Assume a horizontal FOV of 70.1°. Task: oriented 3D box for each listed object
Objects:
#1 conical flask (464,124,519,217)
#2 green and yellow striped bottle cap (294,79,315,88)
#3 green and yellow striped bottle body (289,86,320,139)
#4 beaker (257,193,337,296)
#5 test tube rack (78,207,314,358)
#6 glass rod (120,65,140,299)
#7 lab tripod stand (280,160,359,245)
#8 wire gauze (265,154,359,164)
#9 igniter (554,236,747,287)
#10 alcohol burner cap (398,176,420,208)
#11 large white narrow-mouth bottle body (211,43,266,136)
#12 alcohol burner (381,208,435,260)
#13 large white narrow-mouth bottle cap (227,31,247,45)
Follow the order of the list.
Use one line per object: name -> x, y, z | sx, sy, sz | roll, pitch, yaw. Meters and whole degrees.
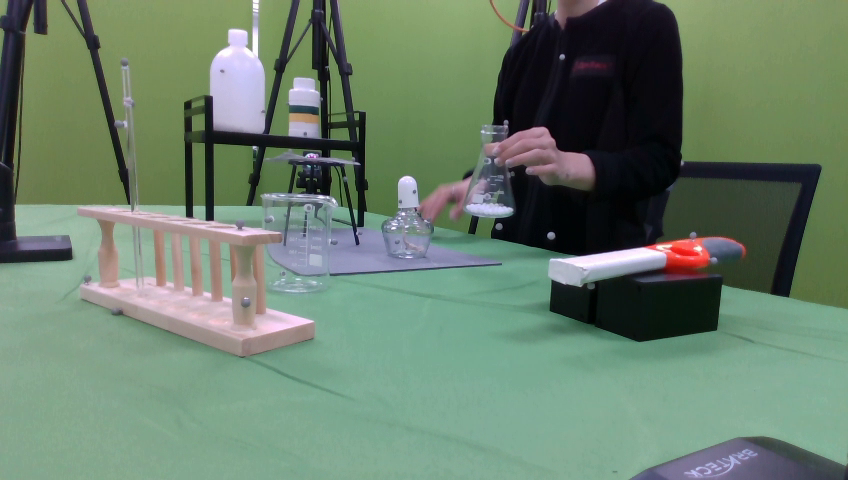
conical flask -> 0.094, -0.095, 0.818 | 0.075, 0.122, 0.075 | 2, 13, 0
green and yellow striped bottle cap -> -0.248, -0.323, 1.256 | 0.045, 0.020, 0.045 | 3, 9, 0
green and yellow striped bottle body -> -0.250, -0.272, 1.261 | 0.063, 0.119, 0.063 | 3, 7, 0
beaker -> -0.130, 0.004, 0.628 | 0.084, 0.100, 0.074 | 5, 8, 15
test tube rack -> -0.196, 0.024, 0.500 | 0.241, 0.085, 0.067 | 8, 8, 37
glass rod -> -0.249, -0.047, 0.513 | 0.008, 0.199, 0.008 | -1, 4, 0
lab tripod stand -> -0.176, -0.062, 0.973 | 0.148, 0.131, 0.148 | 1, 7, 0
wire gauze -> -0.181, -0.129, 0.969 | 0.126, 0.011, 0.121 | -1, 7, -27
igniter -> 0.221, 0.017, 0.558 | 0.278, 0.025, 0.057 | -5, 15, -39
alcohol burner cap -> -0.023, -0.068, 0.866 | 0.034, 0.048, 0.034 | -4, 8, 1
large white narrow-mouth bottle body -> -0.361, -0.302, 1.176 | 0.102, 0.194, 0.102 | 1, 7, 0
alcohol burner -> -0.023, -0.032, 0.872 | 0.078, 0.119, 0.078 | 0, 6, 0
large white narrow-mouth bottle cap -> -0.361, -0.388, 1.165 | 0.038, 0.024, 0.037 | 1, 7, 0
